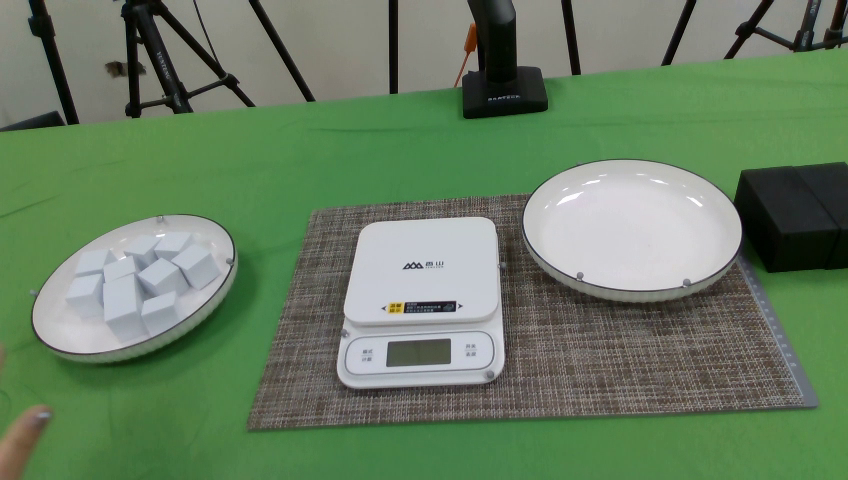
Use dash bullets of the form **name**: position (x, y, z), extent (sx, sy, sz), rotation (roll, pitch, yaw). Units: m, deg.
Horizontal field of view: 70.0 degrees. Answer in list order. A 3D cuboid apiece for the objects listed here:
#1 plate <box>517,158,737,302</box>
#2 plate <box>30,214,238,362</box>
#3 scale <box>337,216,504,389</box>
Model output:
- **plate**: position (0.199, -0.010, 0.612), extent (0.207, 0.039, 0.205), rotation (-5, 41, 5)
- **plate**: position (-0.298, 0.050, 0.642), extent (0.209, 0.038, 0.207), rotation (-5, 40, 5)
- **scale**: position (-0.001, 0.052, 0.583), extent (0.148, 0.032, 0.199), rotation (-4, 41, 7)
